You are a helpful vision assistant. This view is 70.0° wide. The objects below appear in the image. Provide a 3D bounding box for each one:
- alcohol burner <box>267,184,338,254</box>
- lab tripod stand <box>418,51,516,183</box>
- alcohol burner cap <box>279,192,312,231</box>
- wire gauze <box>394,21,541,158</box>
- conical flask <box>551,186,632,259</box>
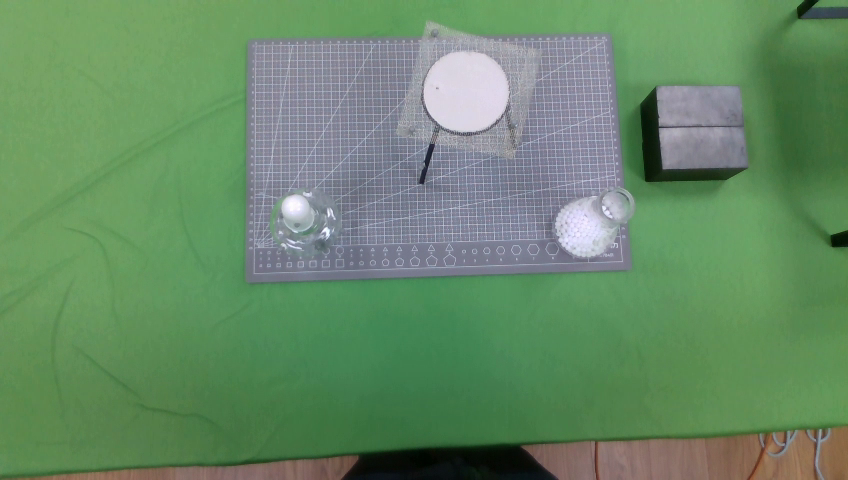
[{"bbox_3d":[-0.133,-0.026,0.652,0.078,0.119,0.077,0,82,-2],"label":"alcohol burner"},{"bbox_3d":[0.037,-0.139,0.668,0.148,0.132,0.148,0,80,0],"label":"lab tripod stand"},{"bbox_3d":[-0.133,-0.031,0.617,0.034,0.048,0.033,1,76,-5],"label":"alcohol burner cap"},{"bbox_3d":[0.045,-0.150,0.602,0.121,0.011,0.124,15,80,1],"label":"wire gauze"},{"bbox_3d":[0.188,-0.024,0.660,0.075,0.122,0.075,0,80,-2],"label":"conical flask"}]
